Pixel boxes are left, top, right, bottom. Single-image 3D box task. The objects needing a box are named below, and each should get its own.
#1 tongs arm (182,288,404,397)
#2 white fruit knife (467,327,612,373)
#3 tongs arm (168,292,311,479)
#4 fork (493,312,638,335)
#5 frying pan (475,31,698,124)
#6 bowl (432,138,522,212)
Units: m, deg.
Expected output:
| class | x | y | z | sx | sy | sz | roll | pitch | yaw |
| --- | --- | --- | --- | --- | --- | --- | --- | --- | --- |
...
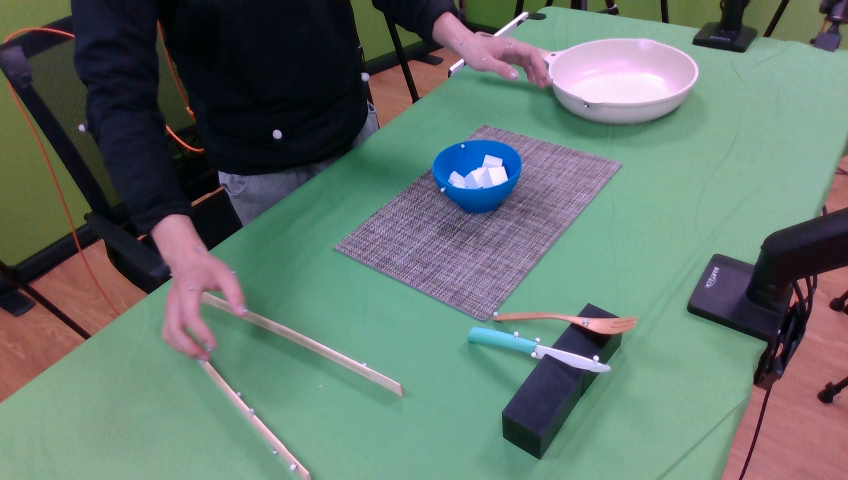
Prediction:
| class | x | y | z | sx | sy | sz | roll | pitch | yaw |
| --- | --- | --- | --- | --- | --- | --- | --- | --- | --- |
| tongs arm | -0.191 | 0.134 | 0.833 | 0.385 | 0.028 | 0.028 | 18 | 49 | 26 |
| white fruit knife | 0.134 | 0.134 | 0.742 | 0.205 | 0.027 | 0.016 | 7 | 34 | 41 |
| tongs arm | -0.244 | 0.175 | 0.787 | 0.381 | 0.026 | 0.051 | 30 | 52 | 36 |
| fork | 0.173 | 0.103 | 0.774 | 0.206 | 0.019 | 0.028 | 0 | 41 | 40 |
| frying pan | 0.320 | -0.371 | 1.290 | 0.485 | 0.103 | 0.307 | 28 | 50 | 23 |
| bowl | 0.091 | -0.100 | 1.021 | 0.151 | 0.077 | 0.150 | -4 | 41 | 4 |
